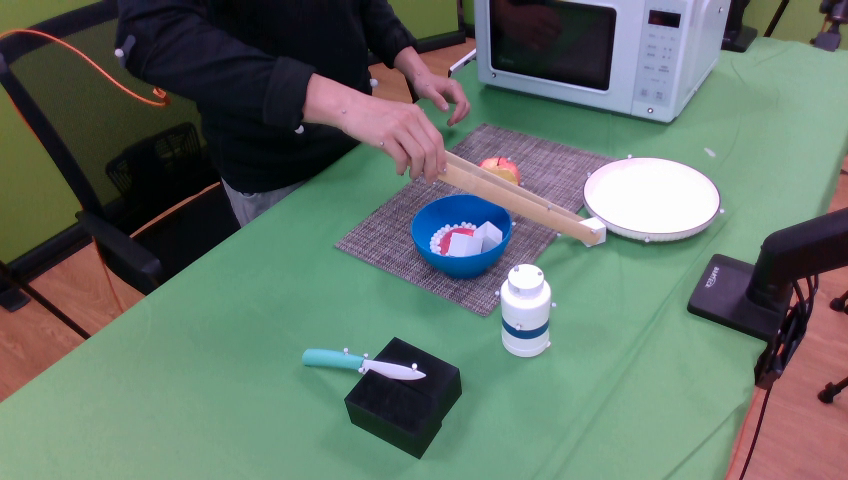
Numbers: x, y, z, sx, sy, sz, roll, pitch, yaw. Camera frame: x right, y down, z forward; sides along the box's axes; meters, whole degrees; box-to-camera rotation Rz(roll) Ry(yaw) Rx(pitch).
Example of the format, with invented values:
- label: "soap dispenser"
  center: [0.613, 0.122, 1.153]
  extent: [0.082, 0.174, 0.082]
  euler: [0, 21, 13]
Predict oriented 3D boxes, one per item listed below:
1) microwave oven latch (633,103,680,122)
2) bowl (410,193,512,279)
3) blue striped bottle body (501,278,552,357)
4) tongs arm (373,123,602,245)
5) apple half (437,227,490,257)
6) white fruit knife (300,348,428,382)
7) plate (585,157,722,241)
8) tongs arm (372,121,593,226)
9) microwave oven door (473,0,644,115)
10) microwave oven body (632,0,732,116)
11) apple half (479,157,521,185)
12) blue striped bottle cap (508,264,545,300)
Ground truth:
- label: "microwave oven latch"
  center: [0.444, -0.249, 1.158]
  extent: [0.078, 0.029, 0.030]
  euler: [21, 49, 30]
- label: "bowl"
  center: [0.058, 0.005, 0.905]
  extent: [0.151, 0.077, 0.150]
  euler: [-4, 41, 4]
- label: "blue striped bottle body"
  center: [0.129, 0.089, 0.769]
  extent: [0.063, 0.121, 0.063]
  euler: [-4, 41, 4]
- label: "tongs arm"
  center: [0.104, -0.069, 0.841]
  extent: [0.388, 0.026, 0.050]
  euler: [19, 27, -31]
- label: "apple half"
  center: [0.056, 0.001, 0.902]
  extent: [0.081, 0.033, 0.081]
  euler: [-3, 41, 3]
- label: "white fruit knife"
  center: [-0.080, 0.155, 0.748]
  extent: [0.206, 0.027, 0.016]
  euler: [1, 20, 34]
- label: "plate"
  center: [0.367, -0.063, 0.979]
  extent: [0.207, 0.039, 0.206]
  euler: [-4, 40, 4]
- label: "tongs arm"
  center: [0.099, -0.081, 0.860]
  extent: [0.391, 0.027, 0.028]
  euler: [21, 29, -27]
- label: "microwave oven door"
  center: [0.257, -0.396, 1.199]
  extent: [0.353, 0.245, 0.039]
  euler: [21, 48, 29]
- label: "microwave oven body"
  center: [0.377, -0.463, 1.267]
  extent: [0.438, 0.261, 0.327]
  euler: [21, 48, 30]
- label: "apple half"
  center: [0.128, -0.107, 1.030]
  extent: [0.080, 0.075, 0.053]
  euler: [5, 39, 20]
- label: "blue striped bottle cap"
  center: [0.125, 0.050, 0.735]
  extent: [0.044, 0.021, 0.044]
  euler: [-5, 39, 5]
